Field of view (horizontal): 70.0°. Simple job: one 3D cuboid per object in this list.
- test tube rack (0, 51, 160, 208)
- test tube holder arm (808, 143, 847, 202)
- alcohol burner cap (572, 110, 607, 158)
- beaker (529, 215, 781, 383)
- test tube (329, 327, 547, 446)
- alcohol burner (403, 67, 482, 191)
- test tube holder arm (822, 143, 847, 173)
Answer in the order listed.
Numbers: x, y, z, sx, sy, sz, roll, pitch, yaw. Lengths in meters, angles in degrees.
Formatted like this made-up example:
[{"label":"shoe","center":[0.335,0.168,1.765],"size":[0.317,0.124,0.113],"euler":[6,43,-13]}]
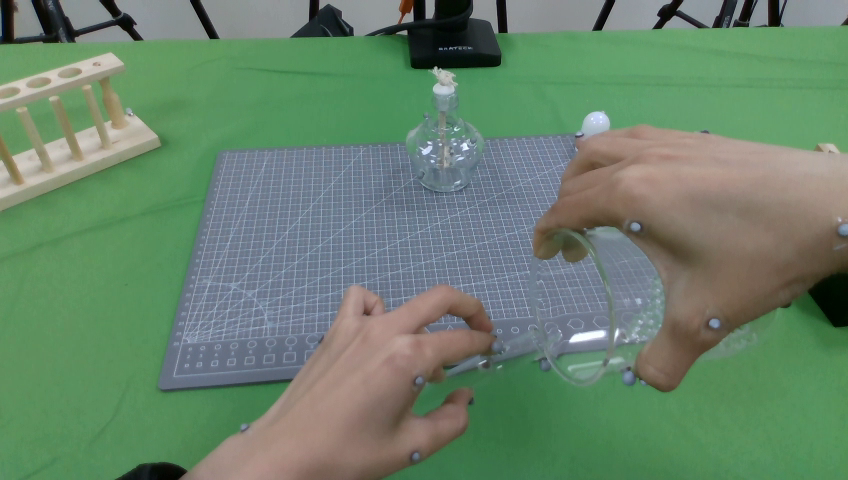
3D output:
[{"label":"test tube rack","center":[-0.395,-0.095,0.582],"size":[0.242,0.086,0.066],"euler":[-32,52,-30]},{"label":"test tube holder arm","center":[0.368,-0.056,0.539],"size":[0.010,0.015,0.087],"euler":[-6,43,4]},{"label":"alcohol burner cap","center":[0.177,-0.115,0.643],"size":[0.034,0.048,0.033],"euler":[1,43,0]},{"label":"beaker","center":[0.112,0.027,0.300],"size":[0.100,0.084,0.073],"euler":[-6,60,-17]},{"label":"test tube","center":[0.002,0.087,0.347],"size":[0.150,0.017,0.017],"euler":[-31,38,23]},{"label":"alcohol burner","center":[0.018,-0.108,0.580],"size":[0.078,0.120,0.077],"euler":[-1,42,1]},{"label":"test tube holder arm","center":[0.375,-0.026,0.506],"size":[0.013,0.015,0.176],"euler":[-6,43,3]}]
